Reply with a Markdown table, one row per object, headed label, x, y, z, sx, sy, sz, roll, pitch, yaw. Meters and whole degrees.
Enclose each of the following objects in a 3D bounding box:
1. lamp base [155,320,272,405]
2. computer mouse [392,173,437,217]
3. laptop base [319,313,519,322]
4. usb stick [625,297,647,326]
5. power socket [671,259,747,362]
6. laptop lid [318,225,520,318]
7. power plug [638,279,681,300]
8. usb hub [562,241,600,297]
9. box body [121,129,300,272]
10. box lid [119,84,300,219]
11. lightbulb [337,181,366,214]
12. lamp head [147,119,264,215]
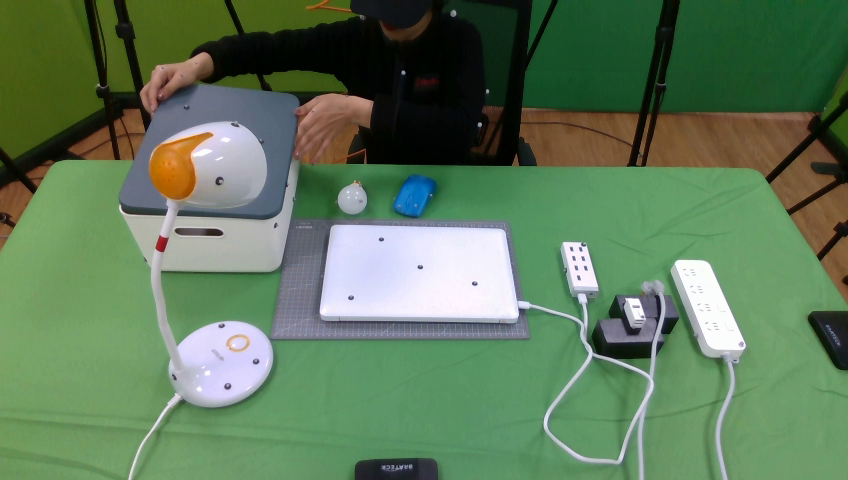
| label | x | y | z | sx | sy | sz | roll | pitch | yaw |
| --- | --- | --- | --- | --- | --- | --- | --- | --- | --- |
| lamp base | -0.330 | 0.149 | 0.918 | 0.160 | 0.181 | 0.179 | 26 | 52 | 20 |
| computer mouse | -0.018 | -0.099 | 1.282 | 0.062 | 0.041 | 0.117 | 20 | 52 | 13 |
| laptop base | -0.009 | 0.062 | 1.137 | 0.354 | 0.023 | 0.234 | 1 | 42 | -3 |
| usb stick | 0.360 | 0.116 | 1.034 | 0.021 | 0.027 | 0.059 | -2 | 44 | -2 |
| power socket | 0.516 | 0.119 | 1.108 | 0.072 | 0.033 | 0.225 | 1 | 46 | -2 |
| laptop lid | -0.009 | 0.052 | 1.131 | 0.357 | 0.013 | 0.240 | 2 | 43 | -2 |
| power plug | 0.434 | 0.099 | 1.119 | 0.073 | 0.053 | 0.035 | 34 | 38 | -15 |
| usb hub | 0.300 | 0.054 | 1.162 | 0.049 | 0.025 | 0.124 | 2 | 46 | -3 |
| box body | -0.387 | -0.112 | 1.182 | 0.254 | 0.161 | 0.361 | 1 | 46 | -3 |
| box lid | -0.377 | -0.173 | 1.117 | 0.264 | 0.015 | 0.369 | 4 | 46 | -7 |
| lightbulb | -0.148 | -0.094 | 1.260 | 0.059 | 0.060 | 0.107 | 4 | 30 | 0 |
| lamp head | -0.276 | -0.087 | 0.740 | 0.112 | 0.112 | 0.123 | 20 | 23 | 15 |
